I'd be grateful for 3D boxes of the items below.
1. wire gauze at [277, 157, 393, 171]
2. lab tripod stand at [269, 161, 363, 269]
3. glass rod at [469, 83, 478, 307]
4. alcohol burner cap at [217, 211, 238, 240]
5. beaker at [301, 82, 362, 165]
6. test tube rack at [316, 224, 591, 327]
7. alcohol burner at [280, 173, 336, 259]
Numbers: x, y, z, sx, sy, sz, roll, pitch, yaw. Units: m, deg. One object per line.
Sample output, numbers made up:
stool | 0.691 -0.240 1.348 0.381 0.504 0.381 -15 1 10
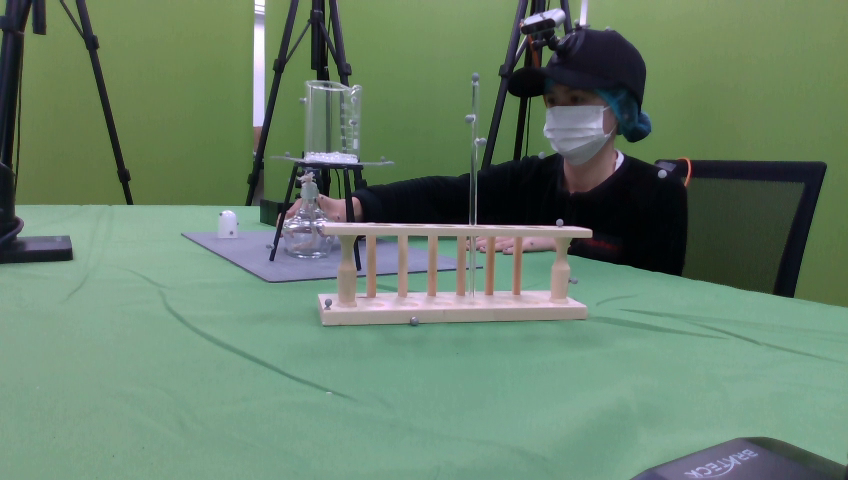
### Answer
wire gauze | -0.122 -0.100 0.786 0.122 0.011 0.124 -5 14 -38
lab tripod stand | -0.125 -0.036 0.794 0.148 0.131 0.148 5 7 0
glass rod | 0.043 -0.033 0.523 0.008 0.199 0.008 -1 14 1
alcohol burner cap | -0.323 -0.024 0.994 0.034 0.048 0.034 3 8 0
beaker | -0.117 -0.147 0.776 0.074 0.100 0.083 -3 10 -38
test tube rack | 0.026 0.028 0.555 0.243 0.085 0.066 1 7 -14
alcohol burner | -0.160 -0.033 0.839 0.078 0.119 0.078 1 9 0
